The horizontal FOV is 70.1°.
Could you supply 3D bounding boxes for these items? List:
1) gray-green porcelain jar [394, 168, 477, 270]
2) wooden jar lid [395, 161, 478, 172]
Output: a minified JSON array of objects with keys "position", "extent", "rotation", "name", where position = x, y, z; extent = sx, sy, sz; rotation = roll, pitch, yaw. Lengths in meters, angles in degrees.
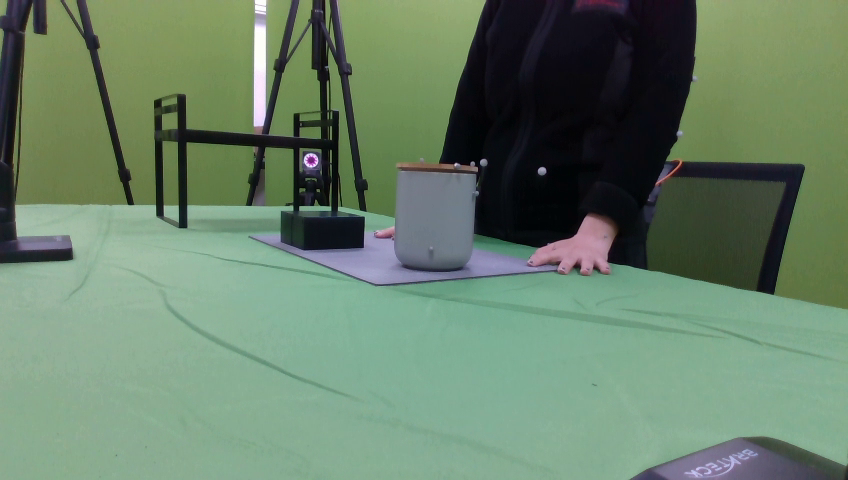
[{"position":[0.014,-0.029,0.793],"extent":[0.106,0.126,0.106],"rotation":[2,7,0],"name":"gray-green porcelain jar"},{"position":[0.016,-0.090,0.784],"extent":[0.108,0.020,0.108],"rotation":[4,5,0],"name":"wooden jar lid"}]
